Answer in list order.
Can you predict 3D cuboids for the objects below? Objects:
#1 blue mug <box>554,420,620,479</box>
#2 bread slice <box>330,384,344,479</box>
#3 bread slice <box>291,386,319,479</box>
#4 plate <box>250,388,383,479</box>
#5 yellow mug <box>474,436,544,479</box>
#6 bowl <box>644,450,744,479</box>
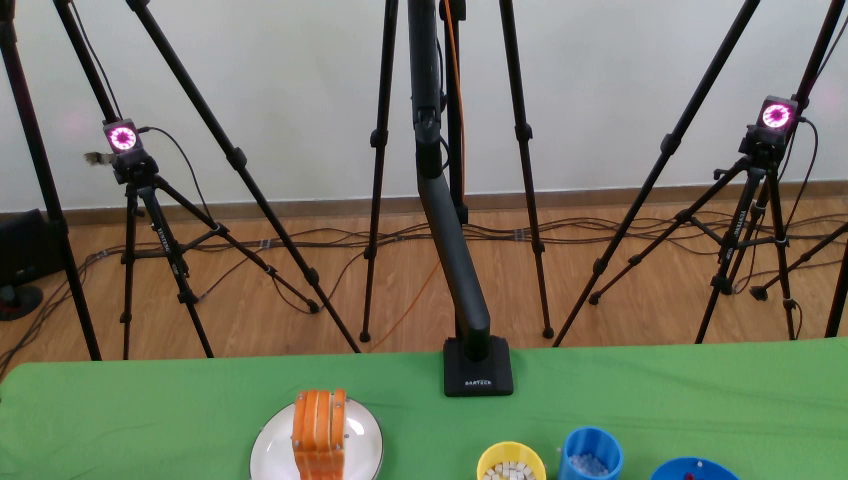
[{"bbox_3d":[0.230,0.338,0.874,0.082,0.107,0.116,12,45,17],"label":"blue mug"},{"bbox_3d":[-0.131,0.287,0.923,0.019,0.132,0.104,1,44,-7],"label":"bread slice"},{"bbox_3d":[-0.180,0.288,0.923,0.018,0.135,0.106,-3,39,-1],"label":"bread slice"},{"bbox_3d":[-0.167,0.331,0.958,0.207,0.039,0.205,-2,43,2],"label":"plate"},{"bbox_3d":[0.110,0.356,0.892,0.131,0.064,0.099,-18,44,-13],"label":"yellow mug"},{"bbox_3d":[0.374,0.379,0.840,0.151,0.077,0.150,-2,43,2],"label":"bowl"}]
